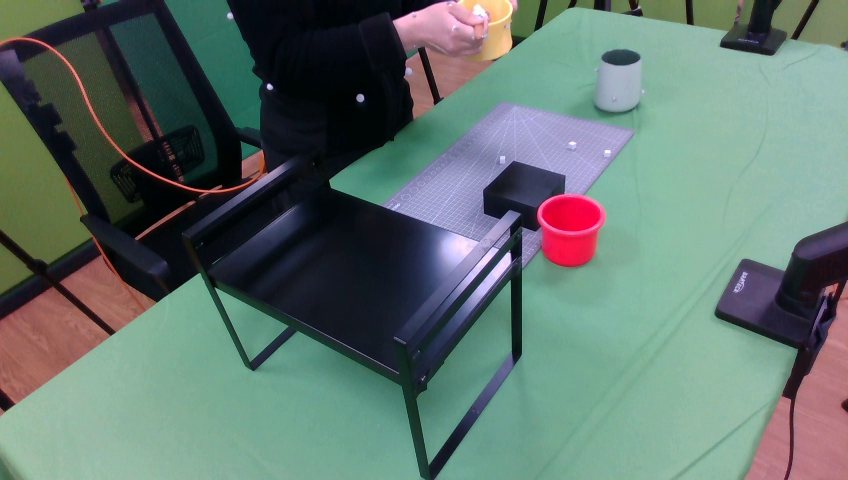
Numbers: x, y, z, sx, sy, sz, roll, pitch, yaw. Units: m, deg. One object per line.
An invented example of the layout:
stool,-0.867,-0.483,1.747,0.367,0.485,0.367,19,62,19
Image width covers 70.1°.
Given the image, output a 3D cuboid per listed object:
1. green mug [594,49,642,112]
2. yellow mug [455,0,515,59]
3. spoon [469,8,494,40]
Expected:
green mug,0.397,-0.333,1.240,0.092,0.105,0.125,-3,41,7
yellow mug,0.108,-0.374,1.035,0.099,0.064,0.130,12,50,15
spoon,0.088,-0.341,0.951,0.041,0.022,0.193,0,28,7
